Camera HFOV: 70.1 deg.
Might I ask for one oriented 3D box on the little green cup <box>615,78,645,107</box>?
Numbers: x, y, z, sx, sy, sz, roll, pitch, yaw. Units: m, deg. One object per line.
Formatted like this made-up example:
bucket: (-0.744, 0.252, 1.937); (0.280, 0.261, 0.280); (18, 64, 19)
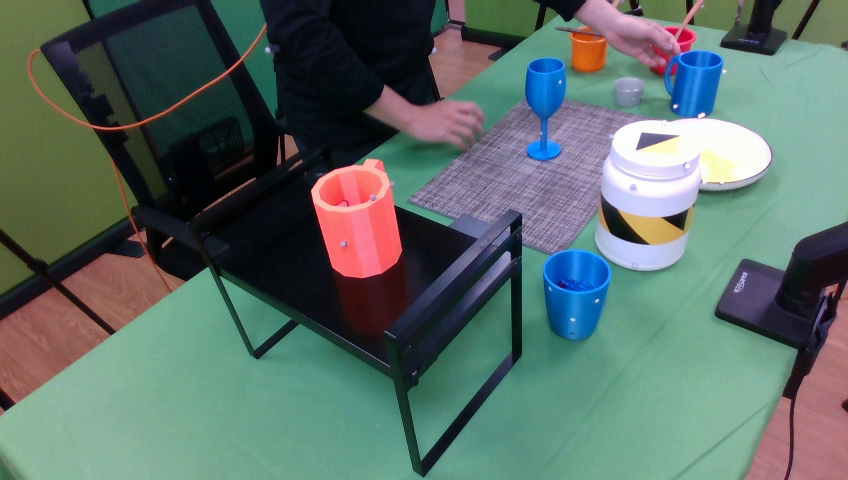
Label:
little green cup: (0.426, -0.306, 1.257); (0.061, 0.039, 0.061); (-5, 40, 4)

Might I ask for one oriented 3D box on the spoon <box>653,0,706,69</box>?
spoon: (0.570, -0.461, 1.334); (0.041, 0.022, 0.193); (39, 102, 41)

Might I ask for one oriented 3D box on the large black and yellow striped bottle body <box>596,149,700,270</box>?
large black and yellow striped bottle body: (0.323, -0.062, 0.877); (0.131, 0.185, 0.130); (-4, 40, 4)

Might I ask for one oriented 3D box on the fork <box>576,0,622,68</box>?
fork: (0.409, -0.484, 1.381); (0.028, 0.019, 0.207); (37, 101, 45)

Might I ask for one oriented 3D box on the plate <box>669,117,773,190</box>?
plate: (0.495, -0.148, 1.063); (0.209, 0.038, 0.208); (-5, 40, 4)

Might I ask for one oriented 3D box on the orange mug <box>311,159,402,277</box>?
orange mug: (-0.070, -0.034, 0.694); (0.083, 0.101, 0.126); (5, 46, 16)

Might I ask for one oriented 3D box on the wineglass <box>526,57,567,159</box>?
wineglass: (0.221, -0.237, 1.097); (0.074, 0.173, 0.073); (-4, 41, 4)

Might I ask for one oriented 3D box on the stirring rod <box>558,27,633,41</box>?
stirring rod: (0.381, -0.463, 1.356); (0.175, 0.006, 0.014); (21, 48, 30)

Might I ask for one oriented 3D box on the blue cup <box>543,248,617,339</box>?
blue cup: (0.199, 0.076, 0.797); (0.092, 0.100, 0.092); (-4, 39, 4)

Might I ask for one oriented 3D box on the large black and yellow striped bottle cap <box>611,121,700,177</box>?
large black and yellow striped bottle cap: (0.315, -0.126, 0.823); (0.115, 0.019, 0.114); (-4, 42, 4)

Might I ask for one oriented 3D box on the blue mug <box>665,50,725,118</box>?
blue mug: (0.526, -0.314, 1.198); (0.082, 0.106, 0.115); (-27, 44, -21)
